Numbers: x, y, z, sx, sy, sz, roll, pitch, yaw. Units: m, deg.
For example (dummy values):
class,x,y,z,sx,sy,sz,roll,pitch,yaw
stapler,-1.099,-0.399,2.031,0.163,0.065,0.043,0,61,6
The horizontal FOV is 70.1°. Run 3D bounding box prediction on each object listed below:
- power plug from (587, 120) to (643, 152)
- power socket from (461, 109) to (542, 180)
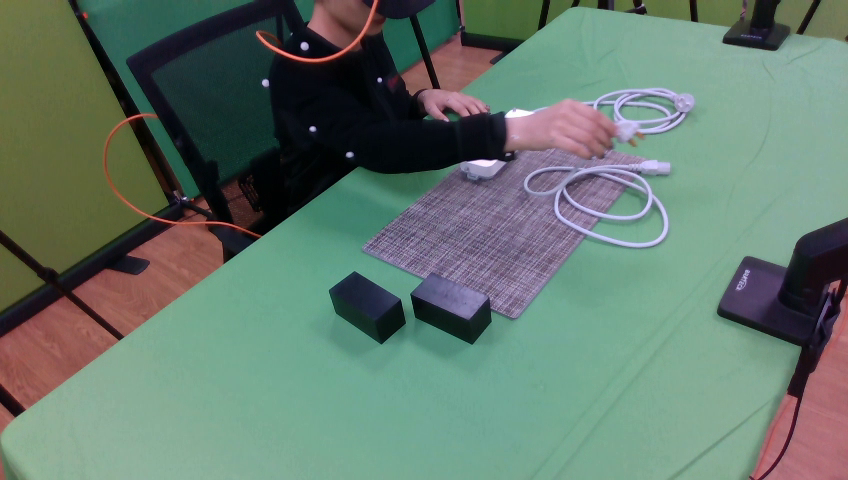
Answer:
class,x,y,z,sx,sy,sz,roll,pitch,yaw
power plug,0.290,-0.151,0.911,0.053,0.072,0.035,38,40,-6
power socket,0.151,-0.188,1.163,0.071,0.033,0.227,21,48,30
